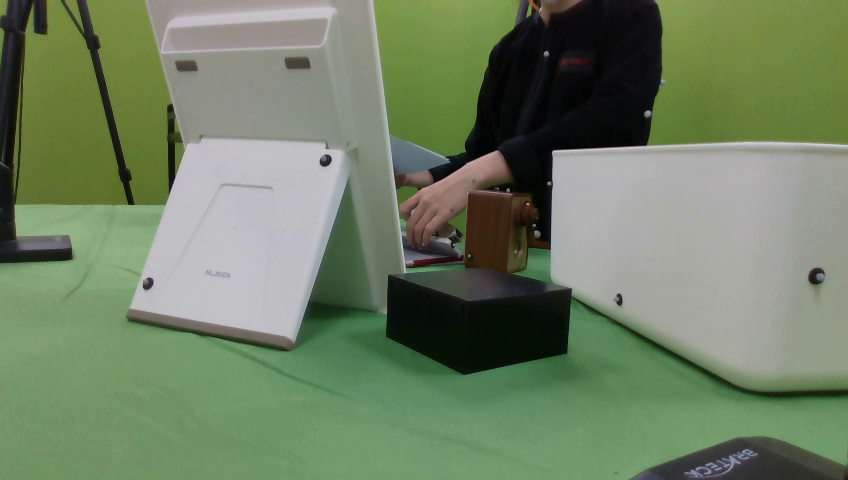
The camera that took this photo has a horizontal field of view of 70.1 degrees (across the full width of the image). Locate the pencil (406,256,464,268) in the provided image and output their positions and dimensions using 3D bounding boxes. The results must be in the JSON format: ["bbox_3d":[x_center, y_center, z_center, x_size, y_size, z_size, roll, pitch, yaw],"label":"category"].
[{"bbox_3d":[0.040,0.028,0.851,0.195,0.012,0.012,-5,11,-44],"label":"pencil"}]

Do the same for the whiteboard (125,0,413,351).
[{"bbox_3d":[-0.151,-0.050,0.471,0.216,0.305,0.144,6,27,24],"label":"whiteboard"}]

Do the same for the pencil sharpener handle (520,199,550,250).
[{"bbox_3d":[0.147,-0.019,0.785,0.030,0.068,0.036,8,26,36],"label":"pencil sharpener handle"}]

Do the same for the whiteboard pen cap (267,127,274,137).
[{"bbox_3d":[-0.340,-0.239,1.337,0.018,0.018,0.033,1,-1,-14],"label":"whiteboard pen cap"}]

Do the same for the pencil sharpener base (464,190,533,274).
[{"bbox_3d":[0.102,-0.012,0.812,0.076,0.107,0.061,8,9,36],"label":"pencil sharpener base"}]

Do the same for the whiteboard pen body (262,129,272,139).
[{"bbox_3d":[-0.361,-0.245,1.393,0.017,0.017,0.140,0,5,-20],"label":"whiteboard pen body"}]

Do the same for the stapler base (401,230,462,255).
[{"bbox_3d":[0.005,-0.002,0.938,0.130,0.024,0.041,12,-16,45],"label":"stapler base"}]

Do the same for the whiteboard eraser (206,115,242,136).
[{"bbox_3d":[-0.438,-0.249,1.320,0.056,0.042,0.112,-3,9,-30],"label":"whiteboard eraser"}]

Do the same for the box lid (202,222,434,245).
[{"bbox_3d":[-0.196,-0.015,1.105,0.373,0.015,0.262,-1,7,-32],"label":"box lid"}]

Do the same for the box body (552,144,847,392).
[{"bbox_3d":[0.290,0.002,0.549,0.255,0.160,0.363,2,7,-10],"label":"box body"}]

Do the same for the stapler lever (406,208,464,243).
[{"bbox_3d":[0.017,-0.025,0.943,0.117,0.040,0.027,12,-15,45],"label":"stapler lever"}]
